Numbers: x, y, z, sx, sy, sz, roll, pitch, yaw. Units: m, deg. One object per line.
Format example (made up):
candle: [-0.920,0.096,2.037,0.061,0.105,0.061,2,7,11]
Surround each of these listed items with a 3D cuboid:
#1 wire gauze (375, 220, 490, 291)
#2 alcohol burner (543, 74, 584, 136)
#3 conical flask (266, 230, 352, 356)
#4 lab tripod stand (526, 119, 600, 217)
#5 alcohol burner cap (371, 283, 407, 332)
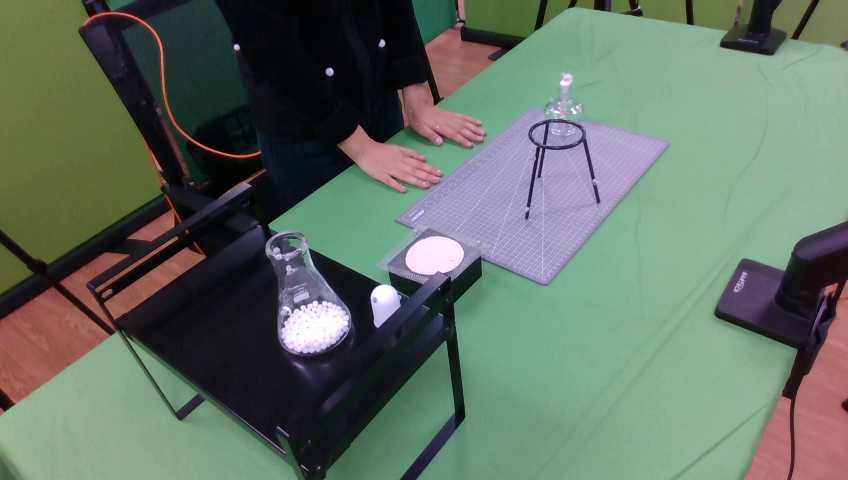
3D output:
wire gauze: [0.012,0.022,0.882,0.120,0.011,0.125,22,47,33]
alcohol burner: [0.270,-0.263,1.169,0.078,0.119,0.077,-6,39,5]
conical flask: [-0.117,0.047,0.580,0.075,0.122,0.075,-5,40,4]
lab tripod stand: [0.220,-0.122,0.995,0.148,0.132,0.147,-3,39,3]
alcohol burner cap: [-0.037,0.065,0.608,0.034,0.048,0.033,-5,38,5]
